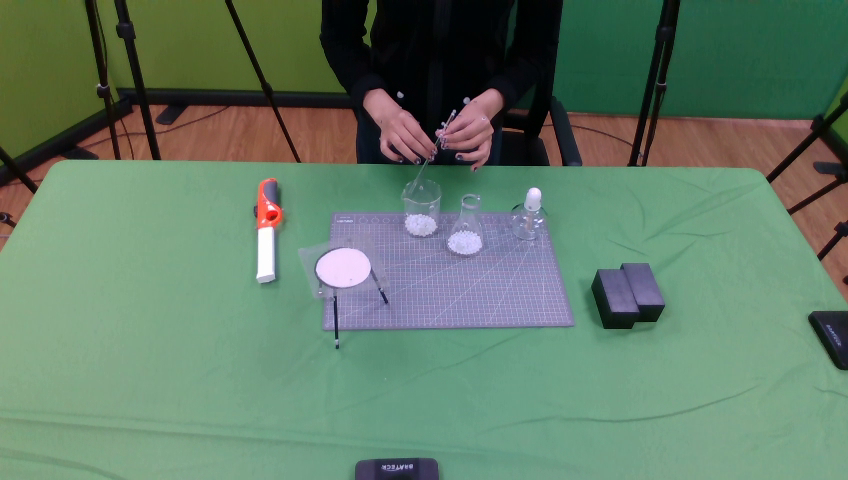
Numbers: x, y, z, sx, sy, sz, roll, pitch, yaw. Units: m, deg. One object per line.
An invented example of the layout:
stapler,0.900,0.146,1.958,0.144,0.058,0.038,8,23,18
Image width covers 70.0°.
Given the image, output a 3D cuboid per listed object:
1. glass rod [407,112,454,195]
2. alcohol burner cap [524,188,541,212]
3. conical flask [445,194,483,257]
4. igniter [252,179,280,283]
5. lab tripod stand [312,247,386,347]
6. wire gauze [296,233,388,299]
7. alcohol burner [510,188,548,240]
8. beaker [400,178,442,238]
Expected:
glass rod,0.009,-0.155,1.117,0.008,0.200,0.008,19,40,-16
alcohol burner cap,0.212,-0.081,1.177,0.034,0.048,0.033,-2,54,3
conical flask,0.082,-0.032,1.164,0.075,0.122,0.075,2,46,-2
igniter,-0.312,-0.027,1.197,0.057,0.025,0.274,-12,47,-2
lab tripod stand,-0.134,0.085,1.028,0.148,0.132,0.147,2,45,-1
wire gauze,-0.133,0.041,0.977,0.125,0.011,0.120,-12,47,-16
alcohol burner,0.211,-0.057,1.204,0.078,0.120,0.077,1,47,-1
beaker,-0.009,-0.059,1.200,0.084,0.101,0.073,-15,48,-17
